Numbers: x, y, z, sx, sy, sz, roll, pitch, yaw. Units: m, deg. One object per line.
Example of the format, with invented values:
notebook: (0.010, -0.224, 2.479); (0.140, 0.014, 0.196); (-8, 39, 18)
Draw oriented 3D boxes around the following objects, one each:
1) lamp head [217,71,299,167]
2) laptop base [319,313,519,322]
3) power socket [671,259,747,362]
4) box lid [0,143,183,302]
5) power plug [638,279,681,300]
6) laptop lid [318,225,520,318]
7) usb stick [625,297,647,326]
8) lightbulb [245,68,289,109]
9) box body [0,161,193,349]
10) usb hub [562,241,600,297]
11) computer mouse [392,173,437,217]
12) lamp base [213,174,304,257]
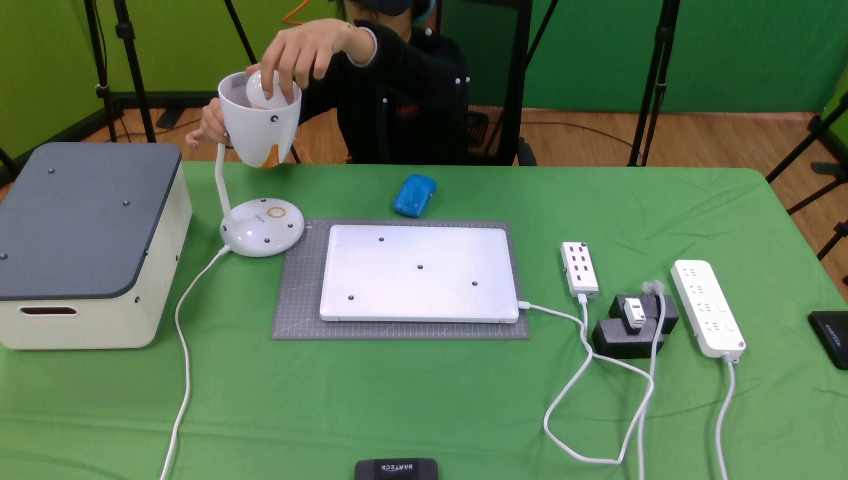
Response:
lamp head: (-0.239, -0.170, 0.876); (0.112, 0.123, 0.111); (9, 45, -9)
laptop base: (-0.009, 0.062, 1.138); (0.354, 0.023, 0.234); (1, 42, -3)
power socket: (0.516, 0.119, 1.108); (0.072, 0.033, 0.225); (1, 46, -2)
box lid: (-0.567, -0.045, 0.999); (0.263, 0.015, 0.369); (-1, 46, -4)
power plug: (0.434, 0.099, 1.119); (0.073, 0.053, 0.035); (34, 38, -16)
laptop lid: (-0.009, 0.052, 1.131); (0.357, 0.013, 0.240); (2, 43, -2)
usb stick: (0.360, 0.116, 1.034); (0.021, 0.027, 0.059); (-2, 44, -2)
lightbulb: (-0.224, -0.190, 0.856); (0.059, 0.108, 0.059); (13, 37, -10)
box body: (-0.570, 0.006, 1.054); (0.254, 0.161, 0.361); (-1, 46, -4)
usb hub: (0.300, 0.054, 1.162); (0.049, 0.025, 0.124); (3, 46, -3)
computer mouse: (-0.018, -0.098, 1.282); (0.062, 0.041, 0.117); (20, 51, 13)
lamp base: (-0.324, -0.074, 1.135); (0.160, 0.181, 0.179); (28, 53, 23)
